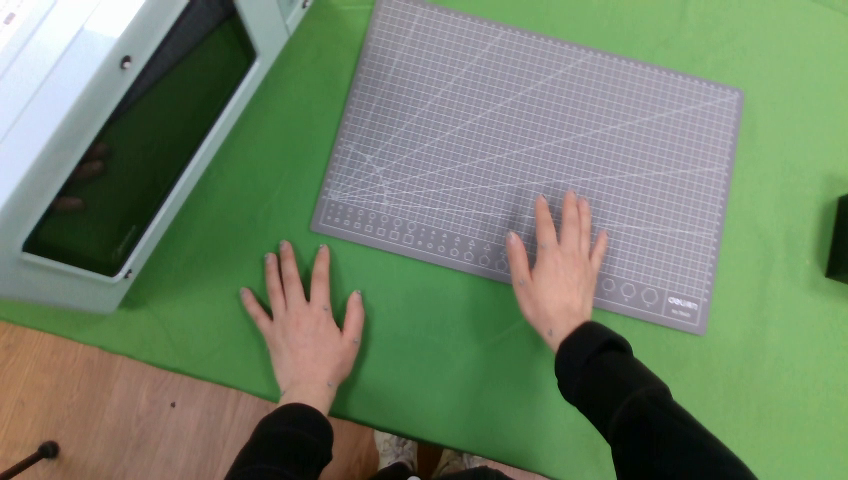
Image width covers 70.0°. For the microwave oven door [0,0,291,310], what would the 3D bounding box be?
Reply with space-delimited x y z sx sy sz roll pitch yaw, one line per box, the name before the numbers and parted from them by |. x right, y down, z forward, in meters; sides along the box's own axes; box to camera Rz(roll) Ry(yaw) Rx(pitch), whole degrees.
microwave oven door | -0.241 -0.108 0.532 0.039 0.244 0.355 29 79 2

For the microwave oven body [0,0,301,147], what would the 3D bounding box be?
microwave oven body | -0.348 -0.214 0.548 0.326 0.260 0.440 29 80 1

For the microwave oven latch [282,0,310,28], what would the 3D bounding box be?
microwave oven latch | -0.139 -0.277 0.672 0.030 0.029 0.079 31 80 1
